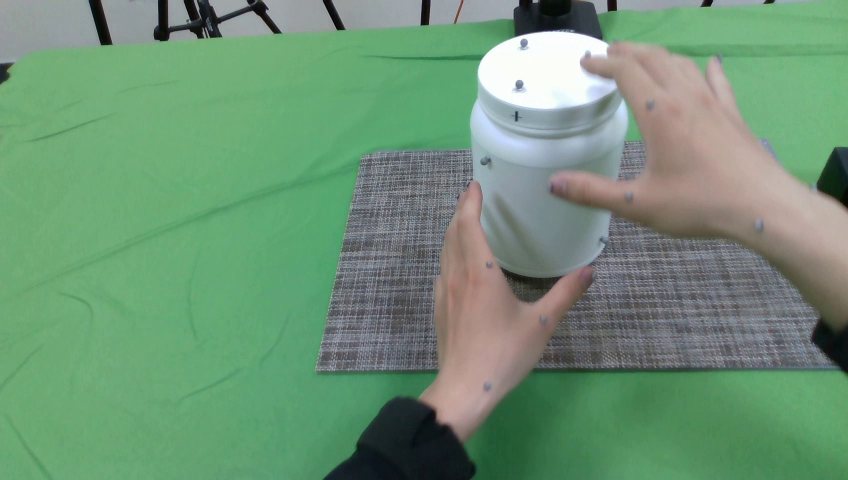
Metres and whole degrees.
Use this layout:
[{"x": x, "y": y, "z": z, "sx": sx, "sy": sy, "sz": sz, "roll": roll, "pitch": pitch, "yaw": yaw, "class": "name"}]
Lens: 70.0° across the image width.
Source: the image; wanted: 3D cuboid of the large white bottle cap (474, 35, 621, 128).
[{"x": 0.097, "y": -0.128, "z": 0.481, "sx": 0.115, "sy": 0.018, "sz": 0.113, "roll": -3, "pitch": 46, "yaw": 4, "class": "large white bottle cap"}]

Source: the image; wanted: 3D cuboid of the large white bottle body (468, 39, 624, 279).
[{"x": 0.105, "y": -0.069, "z": 0.541, "sx": 0.130, "sy": 0.186, "sz": 0.129, "roll": -4, "pitch": 46, "yaw": 4, "class": "large white bottle body"}]
